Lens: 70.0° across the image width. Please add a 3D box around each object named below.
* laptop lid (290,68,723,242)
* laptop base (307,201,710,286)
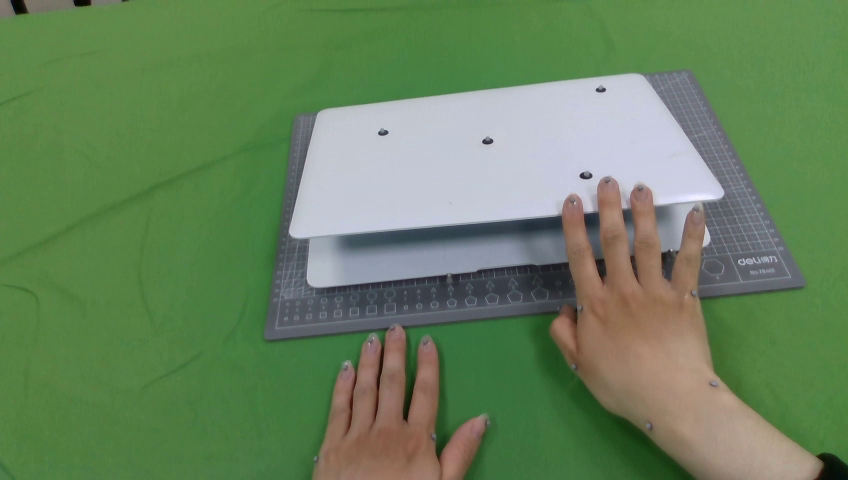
[{"bbox_3d":[0.061,-0.092,0.567,0.356,0.013,0.239,-5,41,3],"label":"laptop lid"},{"bbox_3d":[0.066,-0.066,0.595,0.354,0.023,0.233,-6,54,2],"label":"laptop base"}]
